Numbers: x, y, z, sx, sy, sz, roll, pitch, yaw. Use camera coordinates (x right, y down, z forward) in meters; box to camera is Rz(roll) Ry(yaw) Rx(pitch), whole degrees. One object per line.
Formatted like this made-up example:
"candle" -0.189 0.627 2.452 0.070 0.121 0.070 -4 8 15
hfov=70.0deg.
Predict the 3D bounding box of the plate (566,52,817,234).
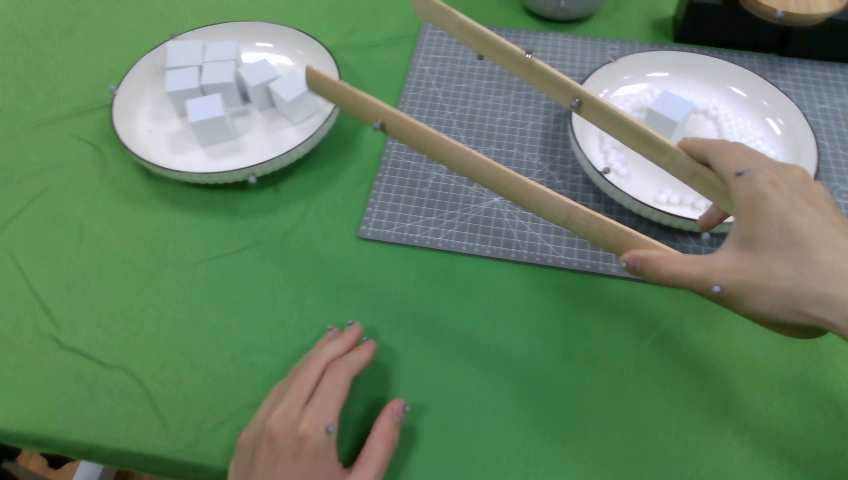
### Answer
"plate" 0.228 -0.086 0.536 0.209 0.038 0.207 0 55 1

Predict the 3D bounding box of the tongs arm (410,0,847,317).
"tongs arm" 0.121 -0.075 0.432 0.382 0.027 0.050 37 60 18

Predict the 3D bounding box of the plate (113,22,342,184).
"plate" -0.179 -0.128 0.573 0.208 0.039 0.205 0 55 1

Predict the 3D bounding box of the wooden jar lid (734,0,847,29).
"wooden jar lid" 0.357 -0.245 0.600 0.108 0.021 0.107 0 56 0

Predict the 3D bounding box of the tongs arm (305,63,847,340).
"tongs arm" 0.079 -0.032 0.401 0.386 0.028 0.028 29 54 14

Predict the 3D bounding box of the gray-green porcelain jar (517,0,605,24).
"gray-green porcelain jar" 0.151 -0.305 0.639 0.106 0.127 0.105 0 54 1
